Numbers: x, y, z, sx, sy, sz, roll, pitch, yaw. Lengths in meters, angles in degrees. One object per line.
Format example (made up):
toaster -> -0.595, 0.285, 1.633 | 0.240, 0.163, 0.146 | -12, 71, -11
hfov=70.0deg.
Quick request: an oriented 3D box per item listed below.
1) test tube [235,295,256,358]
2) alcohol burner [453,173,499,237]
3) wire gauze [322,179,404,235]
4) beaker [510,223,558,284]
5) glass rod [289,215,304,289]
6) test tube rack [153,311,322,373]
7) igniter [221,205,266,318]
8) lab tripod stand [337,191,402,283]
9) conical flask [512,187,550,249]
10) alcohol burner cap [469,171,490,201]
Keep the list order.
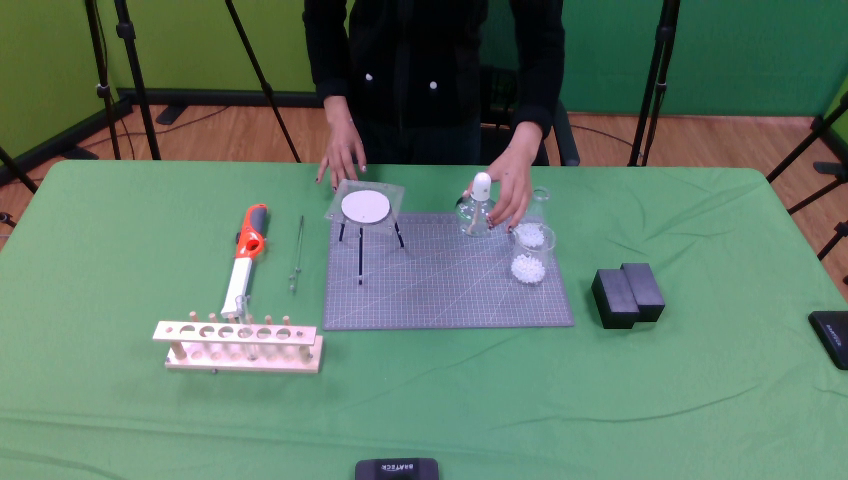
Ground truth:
test tube -> -0.274, 0.136, 0.933 | 0.017, 0.151, 0.017 | 4, 45, -4
alcohol burner -> 0.091, -0.065, 1.024 | 0.078, 0.119, 0.077 | 5, 39, -4
wire gauze -> -0.106, -0.064, 1.078 | 0.125, 0.011, 0.121 | 11, 45, 5
beaker -> 0.199, 0.027, 1.132 | 0.083, 0.101, 0.074 | 27, 50, 21
glass rod -> -0.246, 0.019, 1.171 | 0.008, 0.008, 0.198 | 1, 43, -3
test tube rack -> -0.293, 0.160, 0.978 | 0.242, 0.085, 0.066 | 3, 46, -2
igniter -> -0.337, 0.030, 1.140 | 0.057, 0.025, 0.274 | -6, 46, 3
lab tripod stand -> -0.106, -0.016, 1.125 | 0.148, 0.132, 0.147 | 3, 44, -2
conical flask -> 0.217, -0.048, 1.190 | 0.075, 0.122, 0.075 | 2, 46, -2
alcohol burner cap -> 0.093, -0.092, 1.000 | 0.034, 0.048, 0.033 | 2, 47, -2
